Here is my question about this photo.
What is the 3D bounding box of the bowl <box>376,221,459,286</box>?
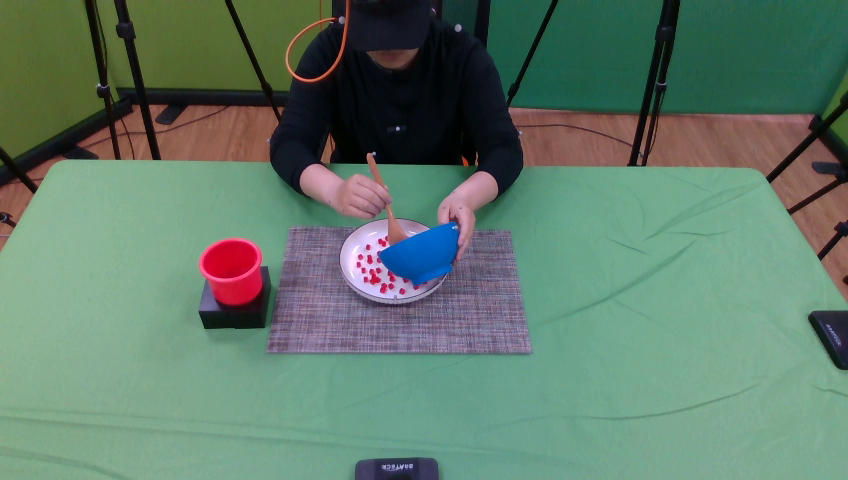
[{"bbox_3d":[0.001,0.031,1.052,0.151,0.151,0.076,-21,86,-21],"label":"bowl"}]

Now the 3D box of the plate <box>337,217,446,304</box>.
[{"bbox_3d":[-0.058,0.042,1.136,0.208,0.039,0.206,2,46,-2],"label":"plate"}]

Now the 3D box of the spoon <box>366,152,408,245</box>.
[{"bbox_3d":[-0.068,-0.065,1.079,0.041,0.194,0.021,-13,13,24],"label":"spoon"}]
